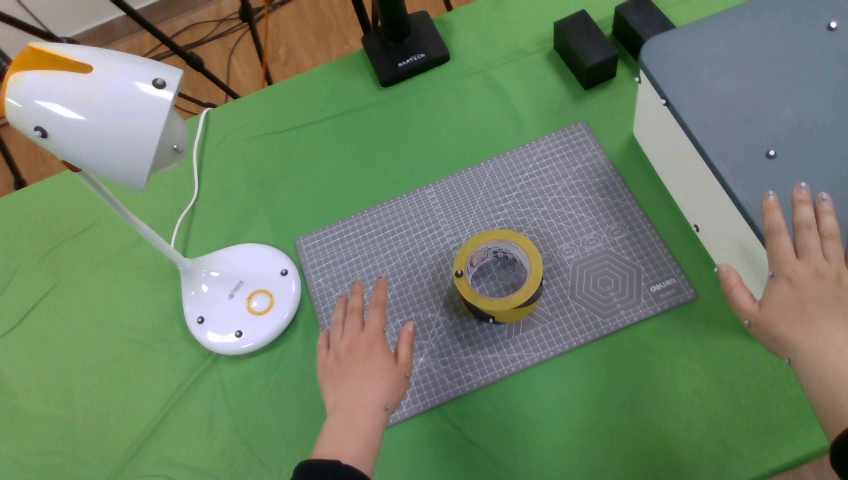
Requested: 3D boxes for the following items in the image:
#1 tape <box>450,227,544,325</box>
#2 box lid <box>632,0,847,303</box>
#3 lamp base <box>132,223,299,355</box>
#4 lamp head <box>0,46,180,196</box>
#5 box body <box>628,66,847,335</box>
[{"bbox_3d":[0.091,0.044,0.760,0.117,0.053,0.116,-4,63,8],"label":"tape"},{"bbox_3d":[0.417,-0.133,0.642,0.263,0.015,0.368,-22,63,-1],"label":"box lid"},{"bbox_3d":[-0.273,0.043,0.759,0.178,0.182,0.160,12,67,19],"label":"lamp base"},{"bbox_3d":[-0.275,-0.103,0.497,0.123,0.112,0.111,15,63,-20],"label":"lamp head"},{"bbox_3d":[0.430,-0.098,0.706,0.254,0.162,0.360,-22,62,0],"label":"box body"}]
